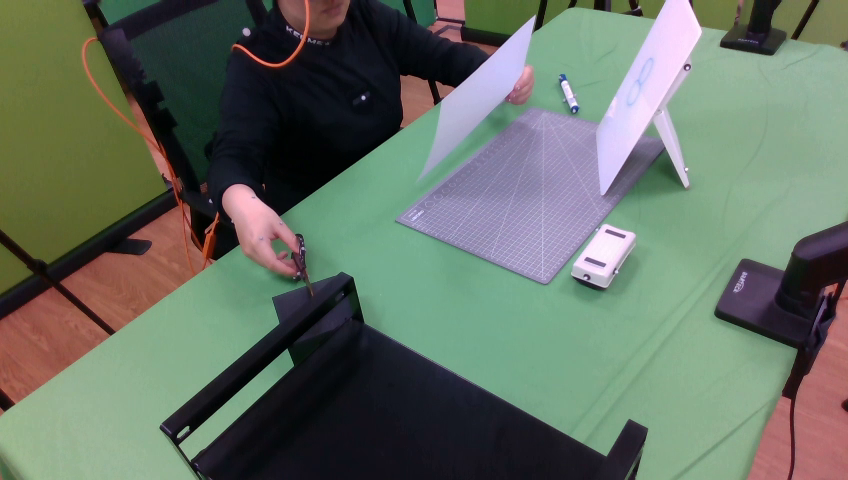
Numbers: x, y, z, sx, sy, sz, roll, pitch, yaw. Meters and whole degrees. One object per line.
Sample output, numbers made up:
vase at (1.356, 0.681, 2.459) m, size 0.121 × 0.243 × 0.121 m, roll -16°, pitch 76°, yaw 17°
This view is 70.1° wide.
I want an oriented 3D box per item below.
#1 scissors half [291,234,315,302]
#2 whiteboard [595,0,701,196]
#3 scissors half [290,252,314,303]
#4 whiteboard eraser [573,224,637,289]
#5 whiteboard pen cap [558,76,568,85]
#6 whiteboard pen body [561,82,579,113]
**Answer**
scissors half at (-0.175, 0.040, 0.886) m, size 0.013 × 0.040 × 0.174 m, roll 3°, pitch 30°, yaw -24°
whiteboard at (0.420, -0.227, 1.010) m, size 0.144 × 0.305 × 0.216 m, roll 18°, pitch 42°, yaw -2°
scissors half at (-0.179, 0.058, 0.894) m, size 0.013 × 0.040 × 0.174 m, roll -2°, pitch 17°, yaw -21°
whiteboard eraser at (0.267, 0.025, 0.891) m, size 0.055 × 0.042 × 0.113 m, roll 19°, pitch 47°, yaw 31°
whiteboard pen cap at (0.309, -0.350, 1.341) m, size 0.018 × 0.018 × 0.033 m, roll -6°, pitch 41°, yaw 2°
whiteboard pen body at (0.310, -0.311, 1.298) m, size 0.017 × 0.017 × 0.140 m, roll -6°, pitch 41°, yaw 2°
